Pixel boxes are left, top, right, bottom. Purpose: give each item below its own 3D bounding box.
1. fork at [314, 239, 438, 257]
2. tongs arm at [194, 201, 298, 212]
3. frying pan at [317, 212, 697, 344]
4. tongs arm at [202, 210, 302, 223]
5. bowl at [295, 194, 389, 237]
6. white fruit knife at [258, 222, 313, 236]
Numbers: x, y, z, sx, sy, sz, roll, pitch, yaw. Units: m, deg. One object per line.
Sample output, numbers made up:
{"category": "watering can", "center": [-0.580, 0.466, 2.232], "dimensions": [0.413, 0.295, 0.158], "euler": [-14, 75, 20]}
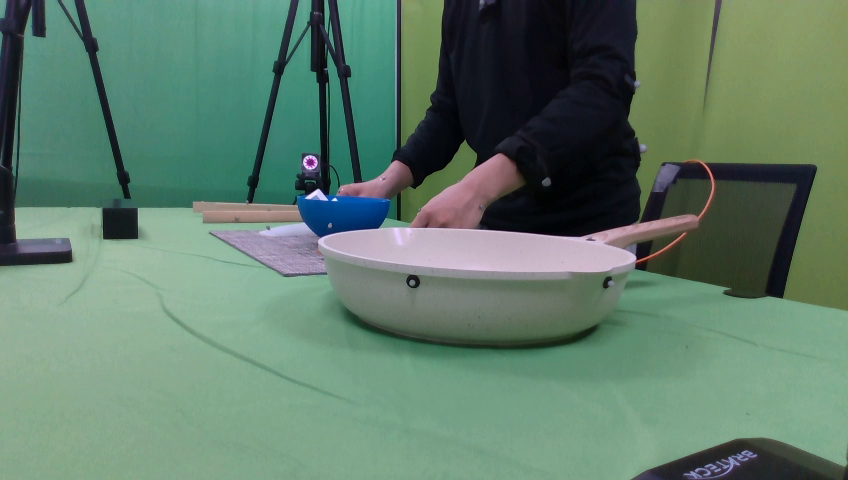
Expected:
{"category": "fork", "center": [-0.062, 0.009, 0.881], "dimensions": [0.208, 0.018, 0.028], "euler": [-8, -8, -37]}
{"category": "tongs arm", "center": [-0.335, -0.072, 1.424], "dimensions": [0.387, 0.026, 0.050], "euler": [0, 9, -24]}
{"category": "frying pan", "center": [0.133, 0.013, 0.629], "dimensions": [0.490, 0.102, 0.305], "euler": [-12, 14, -31]}
{"category": "tongs arm", "center": [-0.298, -0.057, 1.354], "dimensions": [0.390, 0.028, 0.028], "euler": [-3, 7, -36]}
{"category": "bowl", "center": [-0.132, -0.032, 0.980], "dimensions": [0.151, 0.077, 0.151], "euler": [2, 7, 0]}
{"category": "white fruit knife", "center": [-0.195, -0.027, 1.086], "dimensions": [0.208, 0.027, 0.016], "euler": [-9, -15, -31]}
